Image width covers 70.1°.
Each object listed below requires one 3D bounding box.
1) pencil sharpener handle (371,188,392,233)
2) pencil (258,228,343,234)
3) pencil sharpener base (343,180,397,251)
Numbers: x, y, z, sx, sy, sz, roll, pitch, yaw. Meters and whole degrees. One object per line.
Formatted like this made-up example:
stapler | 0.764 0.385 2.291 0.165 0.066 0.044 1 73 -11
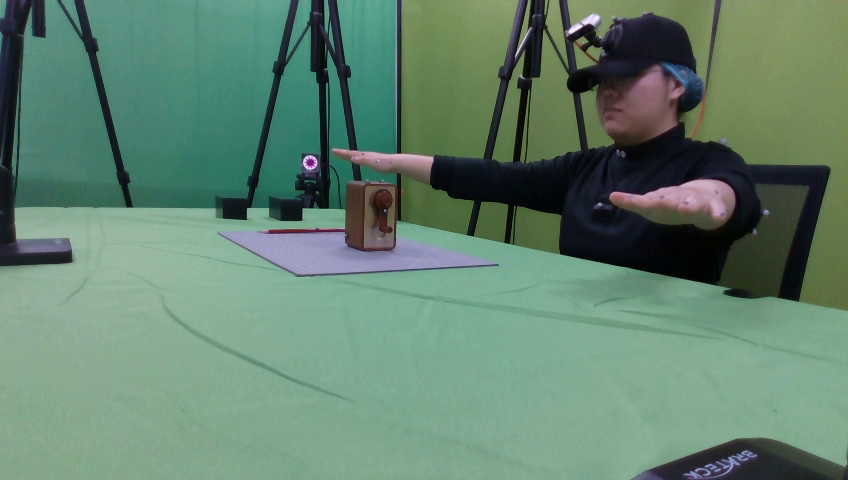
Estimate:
pencil sharpener handle | -0.058 -0.044 0.913 0.036 0.067 0.030 -1 8 -31
pencil | -0.213 -0.017 1.131 0.195 0.012 0.012 -2 8 -26
pencil sharpener base | -0.085 -0.039 0.958 0.062 0.107 0.076 -1 8 -31
